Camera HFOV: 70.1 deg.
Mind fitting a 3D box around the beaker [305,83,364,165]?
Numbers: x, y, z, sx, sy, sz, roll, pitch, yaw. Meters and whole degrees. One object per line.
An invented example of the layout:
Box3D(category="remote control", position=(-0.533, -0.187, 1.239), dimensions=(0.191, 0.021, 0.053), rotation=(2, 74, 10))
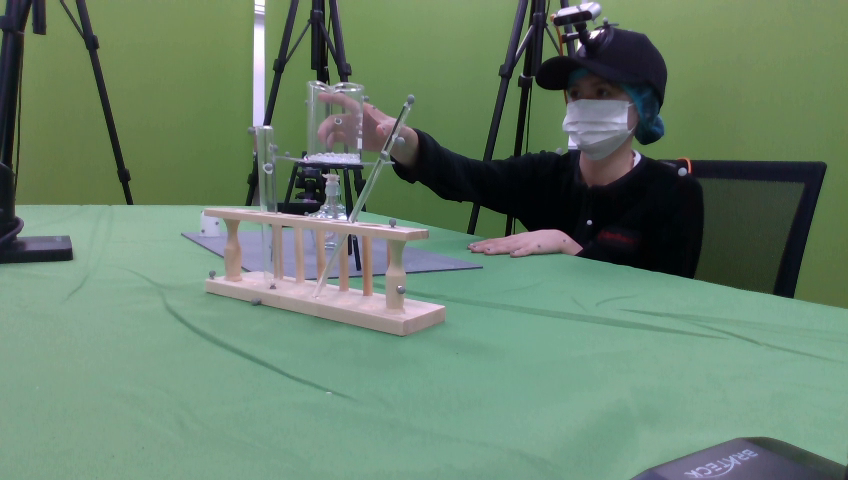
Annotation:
Box3D(category="beaker", position=(-0.116, -0.147, 0.775), dimensions=(0.074, 0.100, 0.084), rotation=(2, 8, -2))

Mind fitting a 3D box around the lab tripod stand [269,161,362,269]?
Box3D(category="lab tripod stand", position=(-0.125, -0.036, 0.794), dimensions=(0.148, 0.131, 0.148), rotation=(5, 7, 0))

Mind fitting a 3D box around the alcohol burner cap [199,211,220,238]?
Box3D(category="alcohol burner cap", position=(-0.356, -0.027, 1.002), dimensions=(0.034, 0.048, 0.034), rotation=(2, 7, 0))

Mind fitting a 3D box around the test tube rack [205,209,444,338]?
Box3D(category="test tube rack", position=(-0.100, 0.021, 0.565), dimensions=(0.241, 0.085, 0.067), rotation=(7, 8, 32))

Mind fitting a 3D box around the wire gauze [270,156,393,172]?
Box3D(category="wire gauze", position=(-0.122, -0.100, 0.786), dimensions=(0.122, 0.011, 0.124), rotation=(-6, 14, -38))

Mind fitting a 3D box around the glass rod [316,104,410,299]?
Box3D(category="glass rod", position=(-0.054, -0.026, 0.516), dimensions=(0.008, 0.199, 0.008), rotation=(23, 24, -11))

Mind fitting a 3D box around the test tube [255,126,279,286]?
Box3D(category="test tube", position=(-0.147, -0.031, 0.566), dimensions=(0.017, 0.150, 0.017), rotation=(-1, 8, 0))

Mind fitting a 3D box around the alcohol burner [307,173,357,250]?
Box3D(category="alcohol burner", position=(-0.144, -0.045, 0.940), dimensions=(0.078, 0.119, 0.078), rotation=(1, 8, 0))
